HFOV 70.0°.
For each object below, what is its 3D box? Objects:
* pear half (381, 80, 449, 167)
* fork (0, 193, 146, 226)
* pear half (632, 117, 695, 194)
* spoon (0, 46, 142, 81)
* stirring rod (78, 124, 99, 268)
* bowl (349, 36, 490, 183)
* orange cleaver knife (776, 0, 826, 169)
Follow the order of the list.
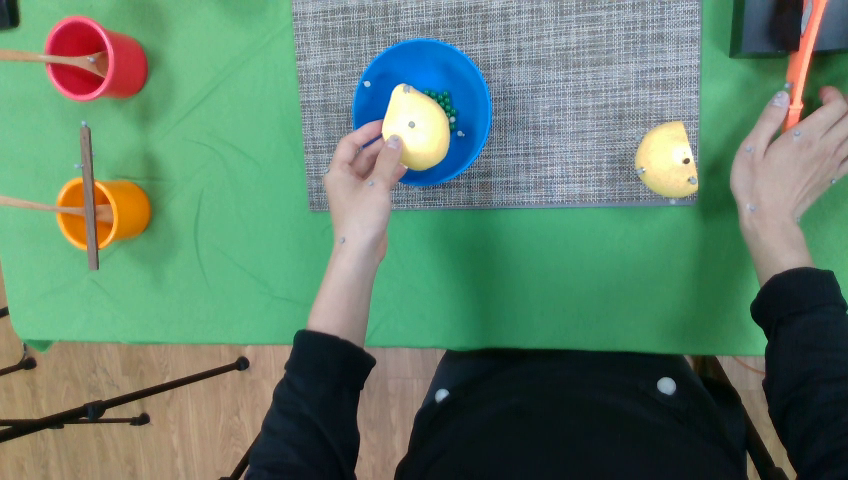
[{"bbox_3d":[-0.006,-0.118,0.609,0.070,0.031,0.088,-27,108,-19],"label":"pear half"},{"bbox_3d":[-0.458,-0.043,0.751,0.209,0.018,0.028,9,115,-33],"label":"fork"},{"bbox_3d":[0.239,-0.081,0.602,0.056,0.110,0.076,-20,91,16],"label":"pear half"},{"bbox_3d":[-0.444,-0.219,0.721,0.195,0.021,0.042,-2,103,-31],"label":"spoon"},{"bbox_3d":[-0.408,-0.052,0.737,0.014,0.006,0.176,4,101,9],"label":"stirring rod"},{"bbox_3d":[0.002,-0.140,0.663,0.151,0.077,0.152,2,101,13],"label":"bowl"},{"bbox_3d":[0.357,-0.171,0.577,0.012,0.076,0.213,1,129,17],"label":"orange cleaver knife"}]
